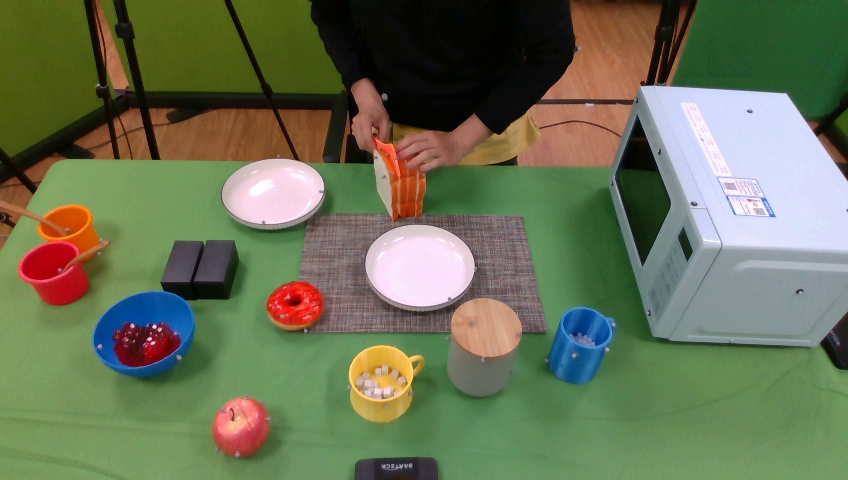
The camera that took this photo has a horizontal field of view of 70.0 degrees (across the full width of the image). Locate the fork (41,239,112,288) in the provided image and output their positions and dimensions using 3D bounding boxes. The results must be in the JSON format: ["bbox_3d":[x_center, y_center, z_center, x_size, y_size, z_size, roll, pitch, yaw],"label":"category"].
[{"bbox_3d":[-0.591,0.040,1.028,0.207,0.019,0.028,-27,36,29],"label":"fork"}]

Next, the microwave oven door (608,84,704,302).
[{"bbox_3d":[0.424,-0.096,1.138,0.039,0.245,0.353,3,46,-1],"label":"microwave oven door"}]

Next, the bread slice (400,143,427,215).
[{"bbox_3d":[-0.021,-0.131,1.242,0.019,0.132,0.104,-13,48,-19],"label":"bread slice"}]

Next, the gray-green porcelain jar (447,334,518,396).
[{"bbox_3d":[0.091,0.178,0.960,0.106,0.127,0.105,2,46,-2],"label":"gray-green porcelain jar"}]

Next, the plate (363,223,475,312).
[{"bbox_3d":[-0.009,0.054,1.126,0.208,0.039,0.206,2,46,-2],"label":"plate"}]

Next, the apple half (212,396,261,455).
[{"bbox_3d":[-0.276,0.276,0.877,0.053,0.075,0.080,-29,58,-21],"label":"apple half"}]

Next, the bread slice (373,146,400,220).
[{"bbox_3d":[-0.077,-0.123,1.231,0.018,0.135,0.106,-19,45,-17],"label":"bread slice"}]

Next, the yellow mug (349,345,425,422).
[{"bbox_3d":[-0.054,0.217,0.954,0.131,0.064,0.099,-23,52,-25],"label":"yellow mug"}]

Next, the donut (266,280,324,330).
[{"bbox_3d":[-0.223,0.112,1.051,0.099,0.048,0.098,2,46,-2],"label":"donut"}]

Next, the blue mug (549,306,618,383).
[{"bbox_3d":[0.269,0.167,0.997,0.116,0.106,0.082,-19,51,-21],"label":"blue mug"}]

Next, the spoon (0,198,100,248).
[{"bbox_3d":[-0.684,-0.035,1.092,0.021,0.195,0.041,-34,41,26],"label":"spoon"}]

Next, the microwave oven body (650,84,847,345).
[{"bbox_3d":[0.569,-0.054,1.116,0.326,0.261,0.439,2,46,-1],"label":"microwave oven body"}]

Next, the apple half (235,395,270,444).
[{"bbox_3d":[-0.245,0.260,0.893,0.033,0.082,0.081,-29,55,-22],"label":"apple half"}]

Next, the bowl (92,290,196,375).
[{"bbox_3d":[-0.436,0.161,0.971,0.151,0.077,0.150,2,46,-2],"label":"bowl"}]

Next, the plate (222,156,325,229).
[{"bbox_3d":[-0.307,-0.094,1.251,0.209,0.038,0.208,2,47,-2],"label":"plate"}]

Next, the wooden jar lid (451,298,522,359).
[{"bbox_3d":[0.093,0.135,0.914,0.108,0.021,0.107,3,48,-3],"label":"wooden jar lid"}]

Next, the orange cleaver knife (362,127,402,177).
[{"bbox_3d":[-0.087,-0.183,1.244,0.012,0.077,0.210,-19,28,-15],"label":"orange cleaver knife"}]

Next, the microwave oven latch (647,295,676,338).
[{"bbox_3d":[0.413,0.133,1.060,0.030,0.029,0.078,4,46,1],"label":"microwave oven latch"}]
